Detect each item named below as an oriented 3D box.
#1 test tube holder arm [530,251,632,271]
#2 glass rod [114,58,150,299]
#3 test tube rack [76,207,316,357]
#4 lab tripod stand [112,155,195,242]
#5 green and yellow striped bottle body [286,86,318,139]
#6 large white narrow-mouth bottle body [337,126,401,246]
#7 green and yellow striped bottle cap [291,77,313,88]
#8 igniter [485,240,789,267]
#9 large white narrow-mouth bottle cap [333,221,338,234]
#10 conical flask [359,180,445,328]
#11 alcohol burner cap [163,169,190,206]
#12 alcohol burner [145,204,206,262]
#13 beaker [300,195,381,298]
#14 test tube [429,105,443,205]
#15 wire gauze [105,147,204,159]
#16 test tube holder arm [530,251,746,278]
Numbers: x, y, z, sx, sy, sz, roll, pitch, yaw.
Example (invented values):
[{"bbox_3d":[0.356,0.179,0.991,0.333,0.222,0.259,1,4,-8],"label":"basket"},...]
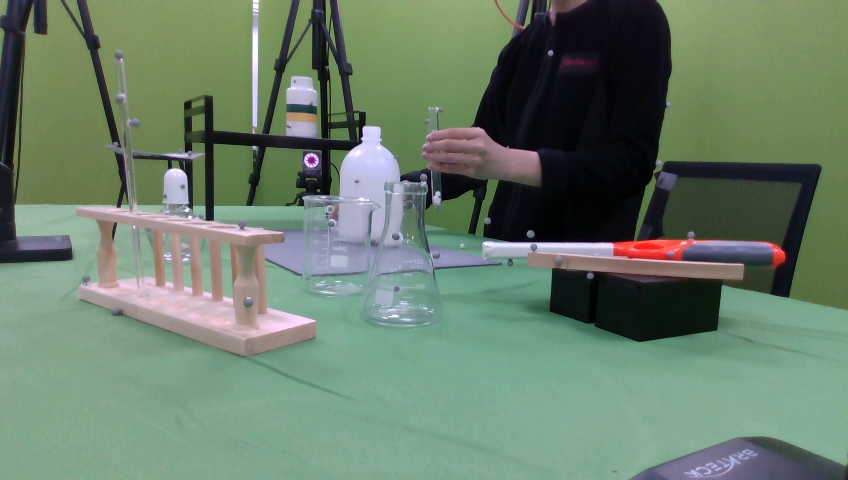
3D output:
[{"bbox_3d":[0.139,0.019,0.538,0.087,0.015,0.010,3,6,13],"label":"test tube holder arm"},{"bbox_3d":[-0.236,-0.044,0.492,0.008,0.199,0.008,0,15,0],"label":"glass rod"},{"bbox_3d":[-0.196,0.023,0.500,0.241,0.085,0.067,8,9,36],"label":"test tube rack"},{"bbox_3d":[-0.405,-0.064,0.931,0.148,0.131,0.148,1,7,0],"label":"lab tripod stand"},{"bbox_3d":[-0.251,-0.270,1.245,0.063,0.119,0.063,2,7,0],"label":"green and yellow striped bottle body"},{"bbox_3d":[-0.090,-0.092,1.007,0.102,0.194,0.102,4,7,0],"label":"large white narrow-mouth bottle body"},{"bbox_3d":[-0.250,-0.321,1.238,0.045,0.020,0.045,3,6,0],"label":"green and yellow striped bottle cap"},{"bbox_3d":[0.197,0.012,0.585,0.276,0.025,0.057,1,5,12],"label":"igniter"},{"bbox_3d":[-0.152,-0.024,1.134,0.038,0.024,0.037,4,7,0],"label":"large white narrow-mouth bottle cap"},{"bbox_3d":[-0.017,0.010,0.522,0.075,0.122,0.075,2,7,0],"label":"conical flask"},{"bbox_3d":[-0.320,-0.067,0.782,0.034,0.048,0.034,1,7,0],"label":"alcohol burner cap"},{"bbox_3d":[-0.321,-0.032,0.788,0.078,0.119,0.078,0,7,0],"label":"alcohol burner"},{"bbox_3d":[-0.087,0.006,0.626,0.084,0.100,0.074,1,8,-17],"label":"beaker"},{"bbox_3d":[0.018,-0.127,0.914,0.017,0.150,0.017,-3,13,1],"label":"test tube"},{"bbox_3d":[-0.407,-0.131,0.928,0.125,0.011,0.121,2,6,-11],"label":"wire gauze"},{"bbox_3d":[0.182,0.022,0.523,0.178,0.015,0.013,3,6,12],"label":"test tube holder arm"}]
